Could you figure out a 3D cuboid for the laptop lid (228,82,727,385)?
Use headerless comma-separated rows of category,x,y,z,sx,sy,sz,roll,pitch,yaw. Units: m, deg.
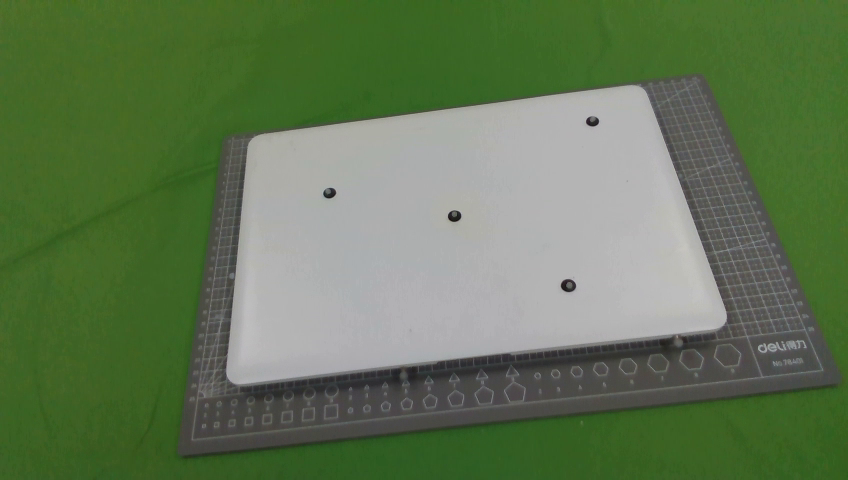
laptop lid,0.026,-0.018,0.476,0.356,0.013,0.239,-6,60,4

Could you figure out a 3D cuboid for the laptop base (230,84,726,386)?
laptop base,0.027,-0.013,0.487,0.354,0.023,0.233,-7,61,3
